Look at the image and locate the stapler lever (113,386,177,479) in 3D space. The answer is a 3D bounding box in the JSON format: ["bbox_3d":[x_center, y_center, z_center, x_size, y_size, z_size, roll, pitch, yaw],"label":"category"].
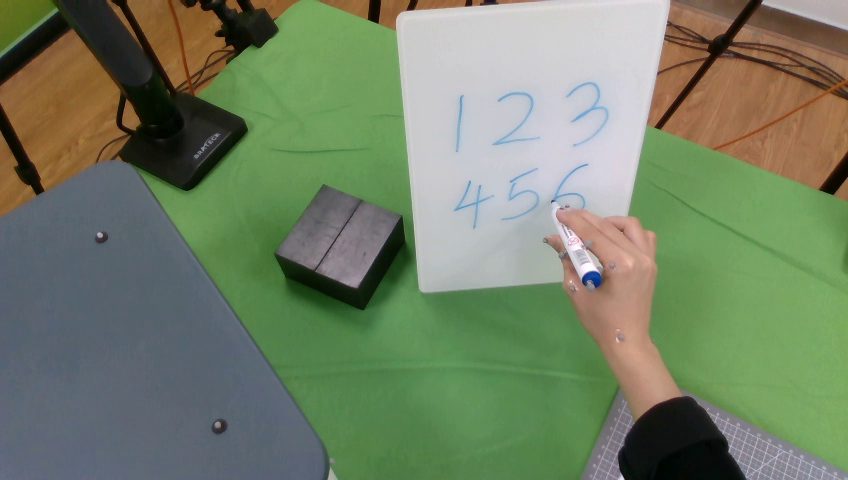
[{"bbox_3d":[-0.254,0.187,0.538,0.026,0.040,0.117,-1,60,22],"label":"stapler lever"}]

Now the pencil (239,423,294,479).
[{"bbox_3d":[-0.184,0.240,0.540,0.012,0.012,0.193,30,53,18],"label":"pencil"}]

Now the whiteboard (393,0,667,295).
[{"bbox_3d":[0.088,-0.110,0.615,0.217,0.308,0.142,-4,40,0],"label":"whiteboard"}]

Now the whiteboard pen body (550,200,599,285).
[{"bbox_3d":[0.128,-0.004,0.532,0.017,0.017,0.139,-4,30,0],"label":"whiteboard pen body"}]

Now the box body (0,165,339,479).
[{"bbox_3d":[-0.267,0.147,0.519,0.254,0.162,0.361,-35,65,-17],"label":"box body"}]

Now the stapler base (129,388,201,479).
[{"bbox_3d":[-0.247,0.198,0.558,0.041,0.025,0.129,-1,62,22],"label":"stapler base"}]

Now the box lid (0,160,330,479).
[{"bbox_3d":[-0.270,0.109,0.456,0.263,0.015,0.368,-35,65,-18],"label":"box lid"}]
